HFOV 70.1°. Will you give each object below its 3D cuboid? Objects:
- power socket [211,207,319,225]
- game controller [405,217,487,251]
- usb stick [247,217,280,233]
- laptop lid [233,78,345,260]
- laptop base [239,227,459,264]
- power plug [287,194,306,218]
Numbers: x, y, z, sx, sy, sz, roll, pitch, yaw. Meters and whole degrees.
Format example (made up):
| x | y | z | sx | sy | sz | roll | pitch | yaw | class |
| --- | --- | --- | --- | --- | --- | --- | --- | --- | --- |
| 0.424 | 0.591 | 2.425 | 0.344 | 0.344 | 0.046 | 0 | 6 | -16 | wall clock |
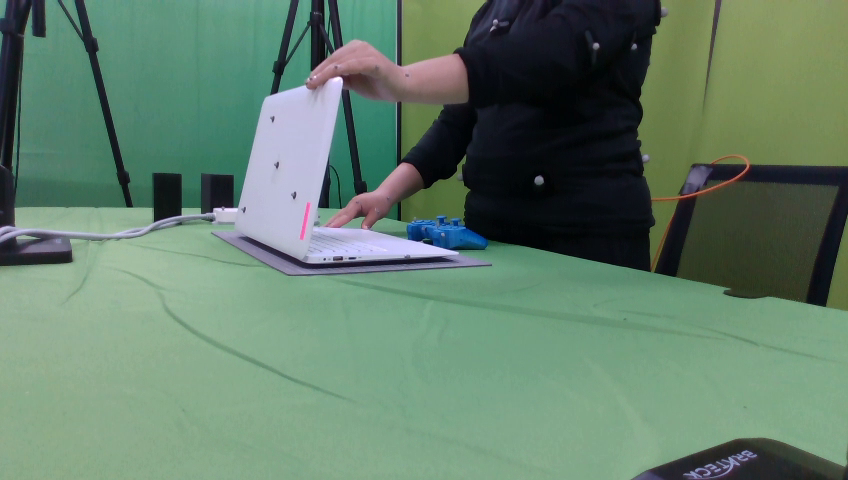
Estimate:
| x | y | z | sx | sy | sz | roll | pitch | yaw | class |
| --- | --- | --- | --- | --- | --- | --- | --- | --- | --- |
| -0.334 | -0.051 | 1.281 | 0.228 | 0.032 | 0.072 | -1 | 9 | -29 | power socket |
| 0.033 | -0.013 | 1.067 | 0.097 | 0.051 | 0.154 | -5 | 10 | -29 | game controller |
| -0.296 | -0.028 | 1.114 | 0.059 | 0.027 | 0.021 | -4 | 14 | -31 | usb stick |
| -0.212 | -0.109 | 0.886 | 0.013 | 0.241 | 0.355 | 13 | 2 | -32 | laptop lid |
| -0.136 | 0.006 | 0.951 | 0.237 | 0.023 | 0.352 | 2 | 6 | -32 | laptop base |
| -0.283 | -0.075 | 1.342 | 0.035 | 0.052 | 0.072 | 0 | 3 | -18 | power plug |
